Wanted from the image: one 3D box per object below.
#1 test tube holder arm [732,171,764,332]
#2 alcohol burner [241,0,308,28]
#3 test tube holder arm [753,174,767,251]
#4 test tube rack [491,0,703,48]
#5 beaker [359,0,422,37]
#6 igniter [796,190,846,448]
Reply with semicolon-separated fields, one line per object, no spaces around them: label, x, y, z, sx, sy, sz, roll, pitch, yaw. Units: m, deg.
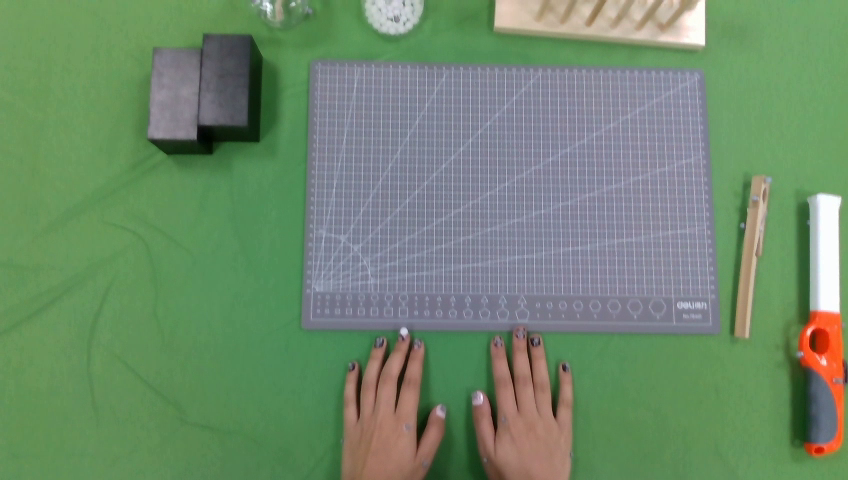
test tube holder arm;0.355;0.012;0.664;0.013;0.015;0.178;16;81;-32
alcohol burner;-0.161;-0.278;0.640;0.078;0.119;0.077;1;79;-3
test tube holder arm;0.368;-0.031;0.673;0.010;0.015;0.087;17;81;-32
test tube rack;0.202;-0.271;0.667;0.242;0.085;0.066;4;82;-1
beaker;-0.037;-0.270;0.651;0.074;0.100;0.083;3;82;-1
igniter;0.428;0.082;0.652;0.057;0.025;0.275;7;82;-11
